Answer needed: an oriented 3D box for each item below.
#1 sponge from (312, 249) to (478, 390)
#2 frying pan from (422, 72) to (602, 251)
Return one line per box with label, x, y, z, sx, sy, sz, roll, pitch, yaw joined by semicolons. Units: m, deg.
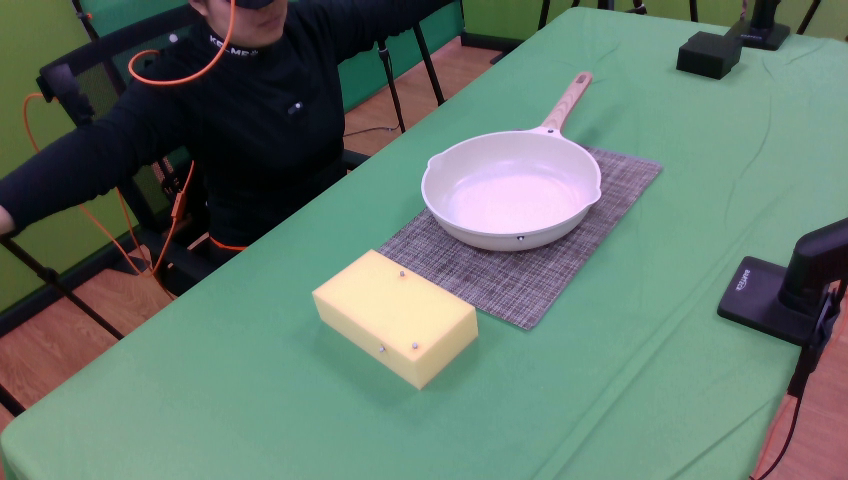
sponge;-0.042;0.103;0.843;0.205;0.061;0.118;27;52;35
frying pan;0.199;-0.155;1.062;0.304;0.103;0.488;19;56;28
